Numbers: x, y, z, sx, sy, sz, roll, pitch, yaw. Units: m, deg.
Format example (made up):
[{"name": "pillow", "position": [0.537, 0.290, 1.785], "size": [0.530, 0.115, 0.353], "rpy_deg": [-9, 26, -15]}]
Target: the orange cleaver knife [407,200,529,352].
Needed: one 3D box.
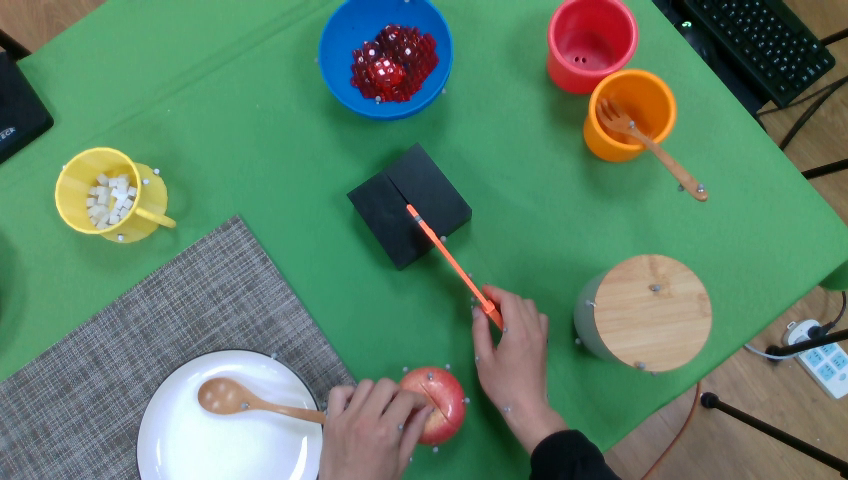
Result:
[{"name": "orange cleaver knife", "position": [0.049, 0.041, 0.659], "size": [0.012, 0.076, 0.213], "rpy_deg": [-38, 115, 1]}]

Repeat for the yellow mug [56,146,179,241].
[{"name": "yellow mug", "position": [-0.346, -0.046, 0.703], "size": [0.130, 0.064, 0.100], "rpy_deg": [24, 84, 5]}]

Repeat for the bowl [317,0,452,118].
[{"name": "bowl", "position": [-0.041, -0.205, 0.702], "size": [0.151, 0.077, 0.151], "rpy_deg": [0, 83, 3]}]

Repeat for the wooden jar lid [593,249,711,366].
[{"name": "wooden jar lid", "position": [0.211, 0.063, 0.567], "size": [0.108, 0.021, 0.108], "rpy_deg": [0, 84, 2]}]

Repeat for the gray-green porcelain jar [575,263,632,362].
[{"name": "gray-green porcelain jar", "position": [0.216, 0.073, 0.629], "size": [0.106, 0.127, 0.105], "rpy_deg": [0, 82, 4]}]

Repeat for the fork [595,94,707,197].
[{"name": "fork", "position": [0.235, -0.104, 0.639], "size": [0.028, 0.019, 0.205], "rpy_deg": [-20, 38, -1]}]

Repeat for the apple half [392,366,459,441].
[{"name": "apple half", "position": [-0.005, 0.182, 0.653], "size": [0.053, 0.075, 0.080], "rpy_deg": [-39, 84, -2]}]

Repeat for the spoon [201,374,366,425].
[{"name": "spoon", "position": [-0.155, 0.180, 0.660], "size": [0.193, 0.022, 0.041], "rpy_deg": [7, 71, 16]}]

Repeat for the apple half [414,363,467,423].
[{"name": "apple half", "position": [0.025, 0.157, 0.654], "size": [0.033, 0.081, 0.081], "rpy_deg": [-40, 82, 1]}]

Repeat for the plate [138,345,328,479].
[{"name": "plate", "position": [-0.207, 0.221, 0.671], "size": [0.209, 0.038, 0.208], "rpy_deg": [0, 83, 3]}]
